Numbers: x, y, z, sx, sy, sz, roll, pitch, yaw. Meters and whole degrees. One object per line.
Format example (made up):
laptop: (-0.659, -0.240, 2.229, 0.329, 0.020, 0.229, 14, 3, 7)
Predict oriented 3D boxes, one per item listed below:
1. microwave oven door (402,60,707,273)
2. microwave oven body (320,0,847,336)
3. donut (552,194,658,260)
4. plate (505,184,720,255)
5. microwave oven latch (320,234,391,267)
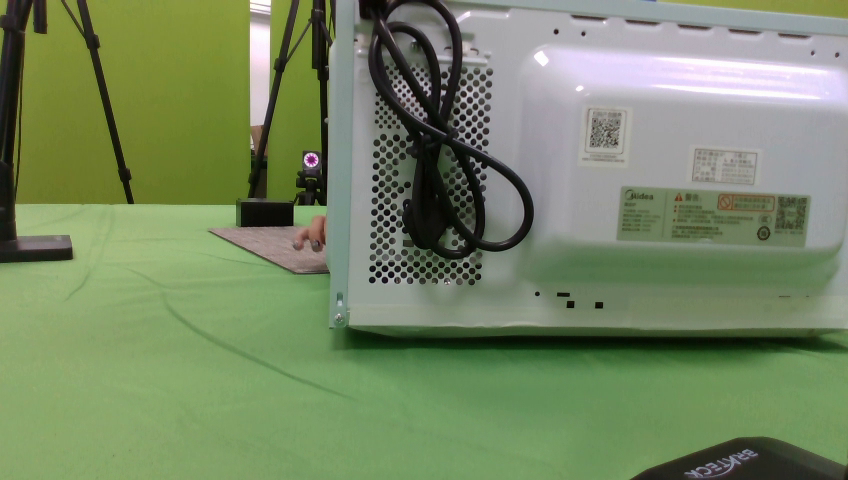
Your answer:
microwave oven door: (0.155, -0.087, 0.736, 0.356, 0.243, 0.039, 2, 8, -1)
microwave oven body: (0.132, -0.062, 0.567, 0.443, 0.260, 0.325, 2, 7, -8)
donut: (0.171, -0.016, 0.576, 0.099, 0.048, 0.099, -10, 16, 3)
plate: (0.184, -0.022, 0.616, 0.209, 0.038, 0.209, 4, 14, -1)
microwave oven latch: (-0.078, 0.012, 0.684, 0.079, 0.029, 0.030, 6, 7, 30)
